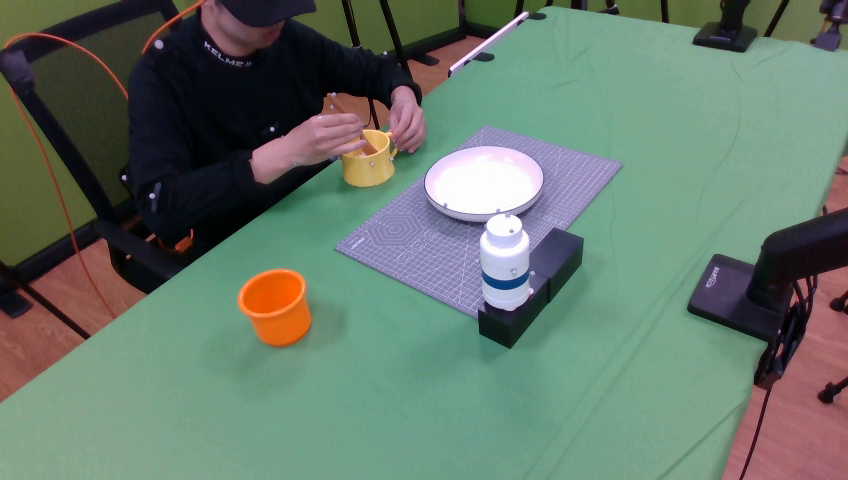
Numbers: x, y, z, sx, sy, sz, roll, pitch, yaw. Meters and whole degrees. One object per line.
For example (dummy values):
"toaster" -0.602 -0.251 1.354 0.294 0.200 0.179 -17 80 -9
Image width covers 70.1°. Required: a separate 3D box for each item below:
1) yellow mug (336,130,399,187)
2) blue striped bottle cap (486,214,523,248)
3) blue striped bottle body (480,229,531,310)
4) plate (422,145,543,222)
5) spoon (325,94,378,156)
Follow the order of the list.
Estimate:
"yellow mug" -0.098 -0.161 1.138 0.131 0.064 0.099 -33 47 -29
"blue striped bottle cap" 0.098 -0.011 0.735 0.044 0.021 0.044 -3 38 3
"blue striped bottle body" 0.104 0.027 0.769 0.063 0.121 0.063 -4 40 4
"plate" 0.101 -0.094 1.048 0.207 0.039 0.206 -4 41 4
"spoon" -0.123 -0.197 1.078 0.041 0.195 0.021 13 66 32
